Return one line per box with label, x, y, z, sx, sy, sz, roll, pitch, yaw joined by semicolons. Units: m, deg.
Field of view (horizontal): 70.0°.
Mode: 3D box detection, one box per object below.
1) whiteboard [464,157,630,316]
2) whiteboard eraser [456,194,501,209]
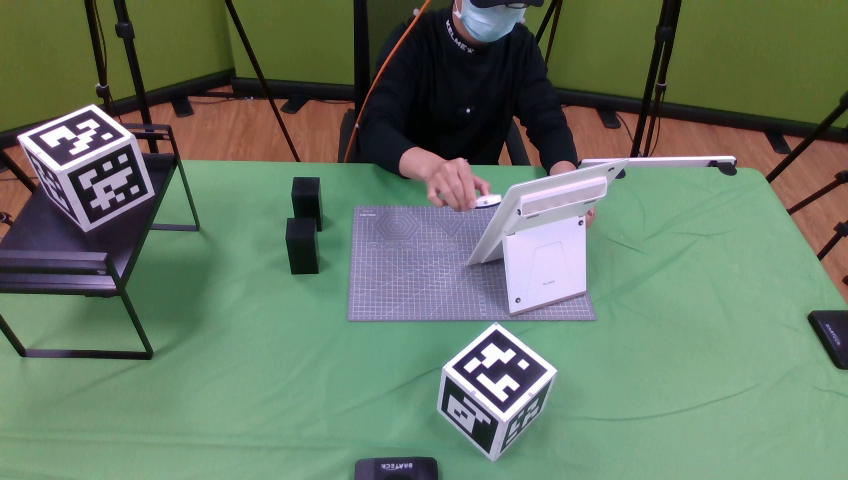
whiteboard;0.224;0.015;1.041;0.217;0.306;0.143;-14;68;-17
whiteboard eraser;0.094;-0.069;1.059;0.041;0.019;0.101;-21;12;-32
